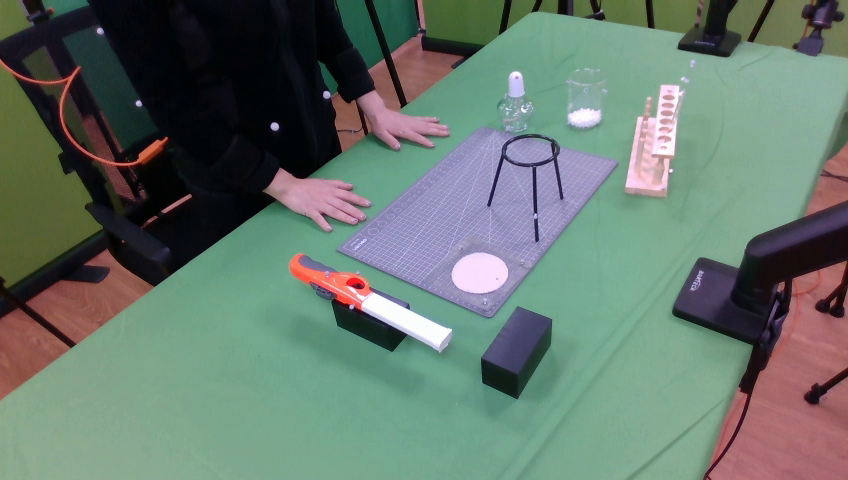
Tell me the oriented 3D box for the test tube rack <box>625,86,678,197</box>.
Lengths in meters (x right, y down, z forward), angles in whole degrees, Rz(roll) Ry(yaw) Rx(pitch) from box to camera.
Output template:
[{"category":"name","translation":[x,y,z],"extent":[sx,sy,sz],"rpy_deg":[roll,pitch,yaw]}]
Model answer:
[{"category":"test tube rack","translation":[0.411,-0.184,1.088],"extent":[0.066,0.085,0.242],"rpy_deg":[9,43,18]}]

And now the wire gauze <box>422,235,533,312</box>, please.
[{"category":"wire gauze","translation":[0.081,0.049,0.914],"extent":[0.120,0.011,0.125],"rpy_deg":[26,52,32]}]

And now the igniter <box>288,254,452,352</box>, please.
[{"category":"igniter","translation":[-0.083,0.079,0.818],"extent":[0.274,0.025,0.057],"rpy_deg":[23,46,27]}]

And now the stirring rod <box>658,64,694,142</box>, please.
[{"category":"stirring rod","translation":[0.409,-0.213,1.000],"extent":[0.006,0.176,0.014],"rpy_deg":[37,57,25]}]

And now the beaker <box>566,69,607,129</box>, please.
[{"category":"beaker","translation":[0.321,-0.279,1.202],"extent":[0.073,0.101,0.084],"rpy_deg":[11,43,20]}]

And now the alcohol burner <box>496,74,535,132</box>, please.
[{"category":"alcohol burner","translation":[0.183,-0.278,1.209],"extent":[0.078,0.119,0.077],"rpy_deg":[-3,42,4]}]

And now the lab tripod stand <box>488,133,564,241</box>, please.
[{"category":"lab tripod stand","translation":[0.168,-0.092,0.972],"extent":[0.148,0.132,0.147],"rpy_deg":[-5,41,5]}]

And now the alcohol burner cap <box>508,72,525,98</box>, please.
[{"category":"alcohol burner cap","translation":[0.181,-0.306,1.186],"extent":[0.034,0.048,0.033],"rpy_deg":[-7,39,6]}]
